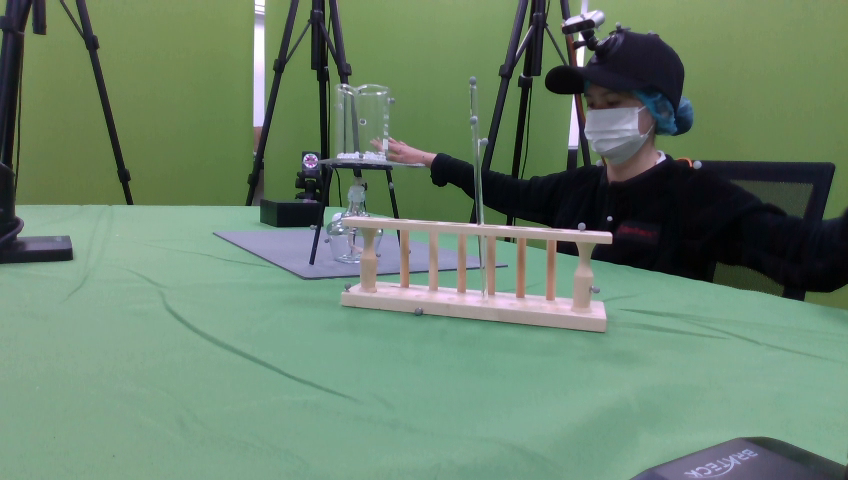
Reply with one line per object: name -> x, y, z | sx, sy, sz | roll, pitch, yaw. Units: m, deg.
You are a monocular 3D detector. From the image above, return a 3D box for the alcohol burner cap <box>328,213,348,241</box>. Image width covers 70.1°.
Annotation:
alcohol burner cap -> -0.148, -0.024, 1.050 | 0.034, 0.048, 0.034 | 3, 7, 0

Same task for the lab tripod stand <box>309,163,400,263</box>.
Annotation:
lab tripod stand -> -0.091, -0.037, 0.813 | 0.148, 0.131, 0.148 | 1, 6, 0

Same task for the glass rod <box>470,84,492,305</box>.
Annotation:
glass rod -> 0.051, -0.036, 0.535 | 0.008, 0.199, 0.008 | -5, 10, 1

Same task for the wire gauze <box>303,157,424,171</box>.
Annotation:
wire gauze -> -0.082, -0.101, 0.799 | 0.126, 0.011, 0.121 | 1, 7, -30

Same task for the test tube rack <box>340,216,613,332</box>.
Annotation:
test tube rack -> 0.047, 0.026, 0.568 | 0.242, 0.085, 0.067 | 4, 8, 13

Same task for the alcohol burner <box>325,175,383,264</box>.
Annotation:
alcohol burner -> -0.093, -0.028, 0.816 | 0.078, 0.119, 0.078 | 3, 5, 0

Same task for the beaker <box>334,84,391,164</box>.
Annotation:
beaker -> -0.082, -0.149, 0.791 | 0.074, 0.100, 0.084 | 2, 5, 4
